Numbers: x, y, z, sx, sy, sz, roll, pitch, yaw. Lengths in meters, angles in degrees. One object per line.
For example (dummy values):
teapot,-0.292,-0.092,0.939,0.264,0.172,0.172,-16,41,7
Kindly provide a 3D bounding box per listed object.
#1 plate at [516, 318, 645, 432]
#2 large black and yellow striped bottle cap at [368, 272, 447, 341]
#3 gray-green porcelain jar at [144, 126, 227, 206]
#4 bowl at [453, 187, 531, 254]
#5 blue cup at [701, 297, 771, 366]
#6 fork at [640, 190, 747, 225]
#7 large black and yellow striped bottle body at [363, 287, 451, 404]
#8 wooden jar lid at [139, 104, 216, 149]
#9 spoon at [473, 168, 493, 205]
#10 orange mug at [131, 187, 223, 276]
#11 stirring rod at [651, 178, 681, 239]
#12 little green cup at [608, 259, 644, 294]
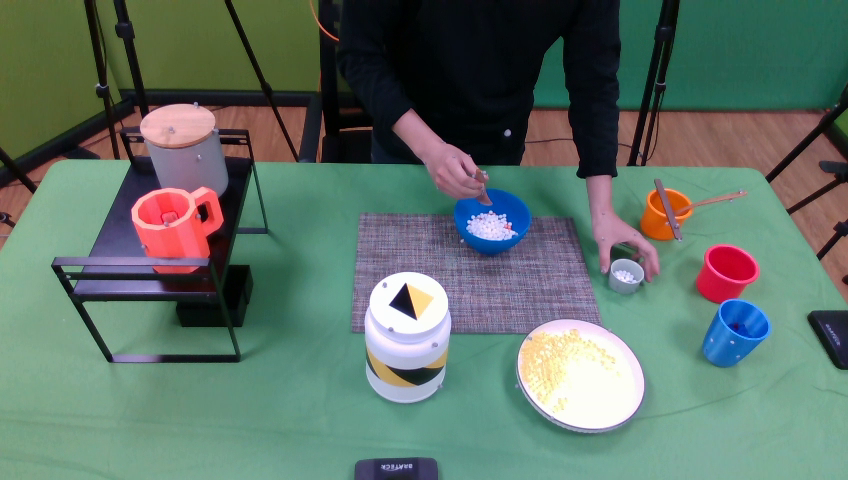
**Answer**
plate,0.253,0.221,0.993,0.209,0.038,0.208,2,46,-2
large black and yellow striped bottle cap,-0.023,0.093,0.875,0.115,0.019,0.114,3,46,-3
gray-green porcelain jar,-0.375,-0.126,0.967,0.106,0.127,0.105,2,46,-2
bowl,0.128,-0.025,1.187,0.151,0.077,0.150,2,46,-2
blue cup,0.519,0.162,1.025,0.093,0.101,0.092,3,45,-3
fork,0.533,-0.065,1.211,0.207,0.019,0.028,-22,28,39
large black and yellow striped bottle body,-0.027,0.153,0.935,0.131,0.185,0.130,2,46,-2
wooden jar lid,-0.372,-0.169,0.920,0.108,0.021,0.107,4,44,-4
spoon,0.101,-0.096,1.069,0.041,0.194,0.021,30,81,14
orange mug,-0.354,-0.022,0.888,0.083,0.101,0.126,31,55,24
stirring rod,0.480,-0.065,1.204,0.014,0.006,0.175,3,46,-4
little green cup,0.379,0.070,1.147,0.061,0.039,0.061,3,46,-3
